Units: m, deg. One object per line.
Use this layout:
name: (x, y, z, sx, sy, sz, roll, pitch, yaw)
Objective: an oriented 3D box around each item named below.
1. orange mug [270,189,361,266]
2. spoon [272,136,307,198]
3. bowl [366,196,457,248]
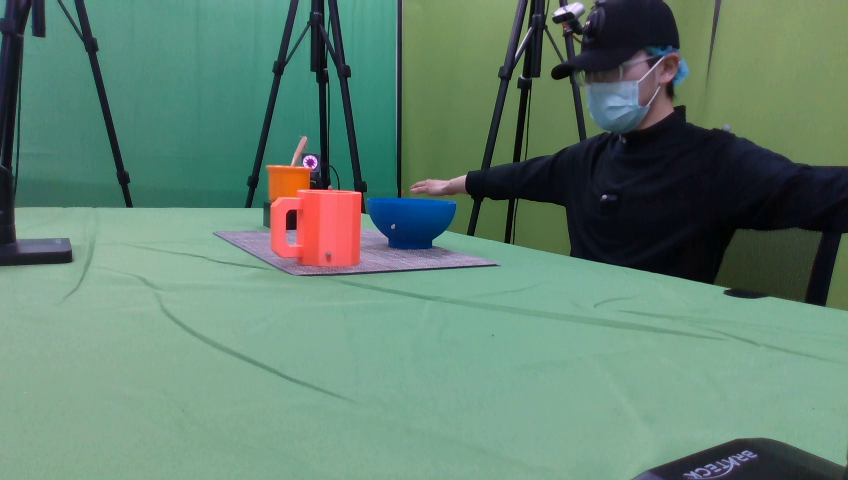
orange mug: (-0.142, -0.019, 0.796, 0.127, 0.100, 0.083, 2, 6, -39)
spoon: (-0.269, -0.152, 1.242, 0.041, 0.193, 0.022, 1, -37, 12)
bowl: (-0.022, -0.030, 1.001, 0.151, 0.077, 0.151, 2, 7, 0)
